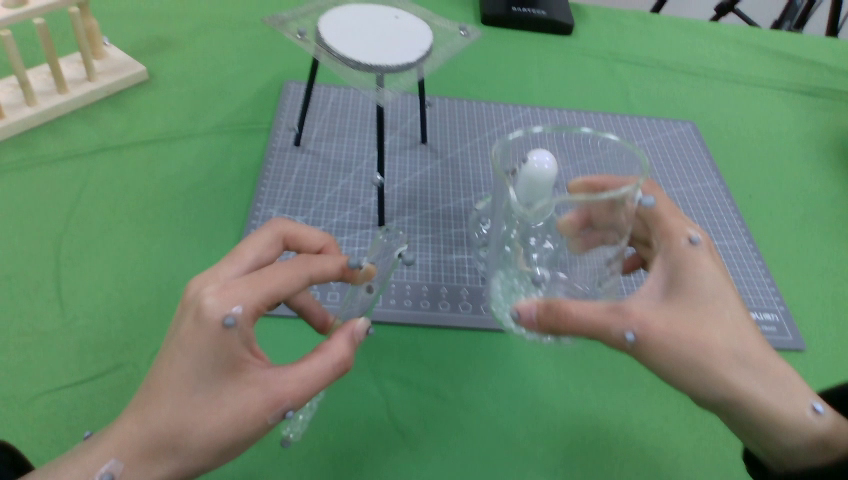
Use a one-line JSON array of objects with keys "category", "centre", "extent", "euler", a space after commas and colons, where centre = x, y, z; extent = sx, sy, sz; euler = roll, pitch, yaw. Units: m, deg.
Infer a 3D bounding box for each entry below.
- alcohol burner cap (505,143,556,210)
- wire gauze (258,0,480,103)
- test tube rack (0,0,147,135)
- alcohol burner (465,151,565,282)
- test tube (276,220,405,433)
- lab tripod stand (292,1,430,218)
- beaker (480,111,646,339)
[{"category": "alcohol burner cap", "centre": [0.077, -0.047, 0.430], "extent": [0.034, 0.048, 0.033], "euler": [2, 54, -2]}, {"category": "wire gauze", "centre": [-0.039, -0.159, 0.456], "extent": [0.124, 0.011, 0.121], "euler": [35, 53, 19]}, {"category": "test tube rack", "centre": [-0.373, -0.148, 0.517], "extent": [0.066, 0.086, 0.242], "euler": [34, 51, 20]}, {"category": "alcohol burner", "centre": [0.072, -0.023, 0.458], "extent": [0.078, 0.120, 0.077], "euler": [6, 47, -6]}, {"category": "test tube", "centre": [-0.047, 0.051, 0.312], "extent": [0.017, 0.151, 0.017], "euler": [22, 31, -13]}, {"category": "lab tripod stand", "centre": [-0.045, -0.114, 0.506], "extent": [0.149, 0.132, 0.147], "euler": [6, 48, -7]}, {"category": "beaker", "centre": [0.065, -0.004, 0.314], "extent": [0.073, 0.101, 0.084], "euler": [21, 42, 26]}]
